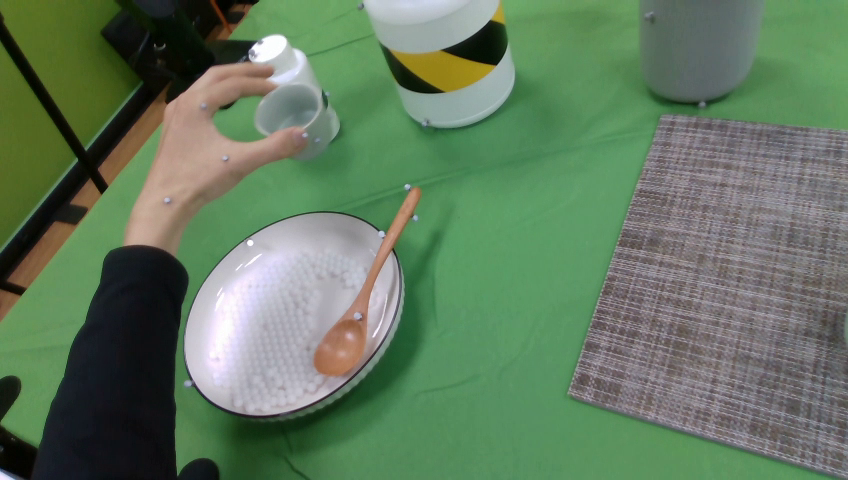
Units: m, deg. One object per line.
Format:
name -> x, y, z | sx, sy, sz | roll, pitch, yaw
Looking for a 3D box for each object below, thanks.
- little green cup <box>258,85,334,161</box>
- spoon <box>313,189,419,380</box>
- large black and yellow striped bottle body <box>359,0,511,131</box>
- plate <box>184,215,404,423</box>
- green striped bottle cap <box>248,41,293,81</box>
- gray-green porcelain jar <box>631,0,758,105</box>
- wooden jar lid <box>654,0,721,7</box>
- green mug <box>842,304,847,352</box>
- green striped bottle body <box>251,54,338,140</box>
little green cup -> -0.108, -0.100, 0.525 | 0.061, 0.039, 0.061 | -7, 56, 10
spoon -> -0.044, 0.033, 0.533 | 0.041, 0.022, 0.193 | 14, 69, 27
large black and yellow striped bottle body -> 0.012, -0.219, 0.624 | 0.130, 0.186, 0.129 | -9, 53, 13
plate -> -0.114, 0.069, 0.552 | 0.209, 0.038, 0.207 | -9, 52, 13
green striped bottle cap -> -0.161, -0.188, 0.636 | 0.044, 0.020, 0.044 | -7, 56, 11
gray-green porcelain jar -> 0.249, -0.200, 0.565 | 0.105, 0.128, 0.105 | -9, 53, 13
wooden jar lid -> 0.232, -0.236, 0.518 | 0.108, 0.021, 0.107 | -9, 55, 14
green mug -> 0.330, 0.051, 0.361 | 0.092, 0.106, 0.124 | -43, 53, -15
green striped bottle body -> -0.147, -0.157, 0.676 | 0.063, 0.120, 0.062 | -10, 52, 13
